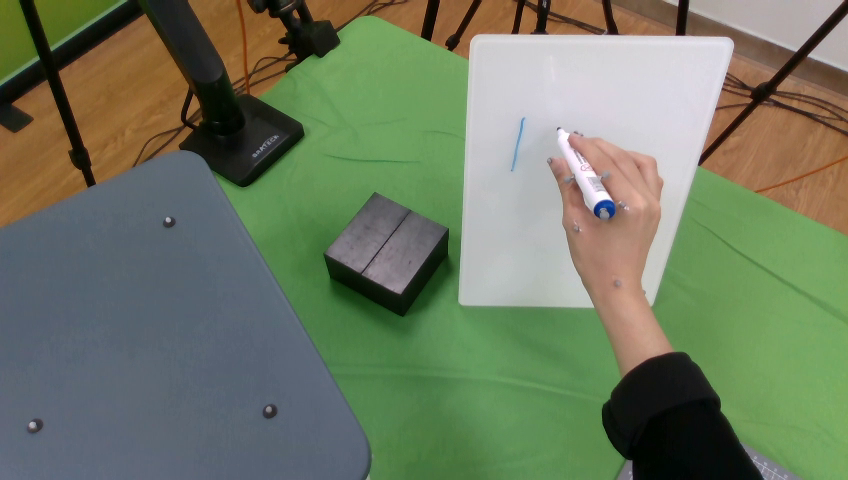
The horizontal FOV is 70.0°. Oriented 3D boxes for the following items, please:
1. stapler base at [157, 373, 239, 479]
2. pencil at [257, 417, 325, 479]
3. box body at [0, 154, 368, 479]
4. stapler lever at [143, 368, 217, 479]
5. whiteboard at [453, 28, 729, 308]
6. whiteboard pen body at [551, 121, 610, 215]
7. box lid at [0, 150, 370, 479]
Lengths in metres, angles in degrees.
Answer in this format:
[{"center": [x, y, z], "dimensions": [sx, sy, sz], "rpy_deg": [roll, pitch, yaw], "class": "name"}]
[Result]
[{"center": [-0.220, 0.186, 0.577], "dimensions": [0.041, 0.025, 0.129], "rpy_deg": [3, 60, 24], "class": "stapler base"}, {"center": [-0.161, 0.234, 0.557], "dimensions": [0.012, 0.012, 0.194], "rpy_deg": [34, 53, 20], "class": "pencil"}, {"center": [-0.236, 0.133, 0.540], "dimensions": [0.254, 0.162, 0.360], "rpy_deg": [-29, 62, -17], "class": "box body"}, {"center": [-0.227, 0.175, 0.557], "dimensions": [0.026, 0.040, 0.117], "rpy_deg": [3, 58, 24], "class": "stapler lever"}, {"center": [0.143, -0.089, 0.635], "dimensions": [0.217, 0.308, 0.142], "rpy_deg": [1, 38, 1], "class": "whiteboard"}, {"center": [0.120, -0.063, 0.480], "dimensions": [0.017, 0.017, 0.139], "rpy_deg": [-4, 36, -2], "class": "whiteboard pen body"}, {"center": [-0.238, 0.092, 0.478], "dimensions": [0.263, 0.015, 0.368], "rpy_deg": [-29, 63, -17], "class": "box lid"}]
